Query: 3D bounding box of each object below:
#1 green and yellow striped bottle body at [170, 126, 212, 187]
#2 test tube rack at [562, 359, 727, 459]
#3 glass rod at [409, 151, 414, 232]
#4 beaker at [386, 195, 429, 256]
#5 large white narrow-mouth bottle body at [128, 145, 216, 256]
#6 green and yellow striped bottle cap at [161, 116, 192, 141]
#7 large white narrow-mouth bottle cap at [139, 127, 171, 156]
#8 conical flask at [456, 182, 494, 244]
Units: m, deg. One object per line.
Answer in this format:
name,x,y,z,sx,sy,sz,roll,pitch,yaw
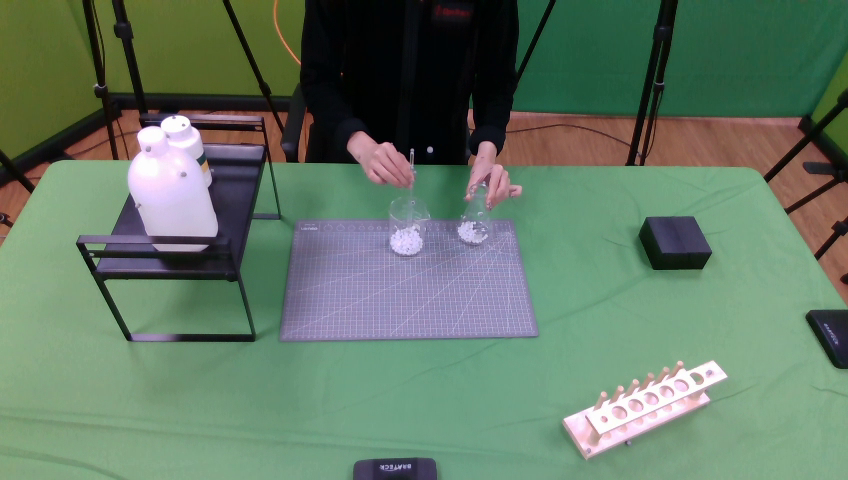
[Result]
green and yellow striped bottle body,-0.389,-0.139,0.984,0.063,0.120,0.063,2,46,-2
test tube rack,0.341,0.247,0.940,0.243,0.085,0.066,-16,49,-18
glass rod,-0.023,-0.085,1.128,0.008,0.201,0.008,1,46,-1
beaker,-0.031,-0.024,1.161,0.084,0.101,0.073,18,48,12
large white narrow-mouth bottle body,-0.366,-0.073,0.872,0.102,0.195,0.101,3,47,-3
green and yellow striped bottle cap,-0.387,-0.174,0.946,0.045,0.020,0.045,3,44,-3
large white narrow-mouth bottle cap,-0.358,-0.132,0.807,0.038,0.024,0.037,3,47,-3
conical flask,0.103,-0.055,1.180,0.075,0.122,0.075,0,47,0
